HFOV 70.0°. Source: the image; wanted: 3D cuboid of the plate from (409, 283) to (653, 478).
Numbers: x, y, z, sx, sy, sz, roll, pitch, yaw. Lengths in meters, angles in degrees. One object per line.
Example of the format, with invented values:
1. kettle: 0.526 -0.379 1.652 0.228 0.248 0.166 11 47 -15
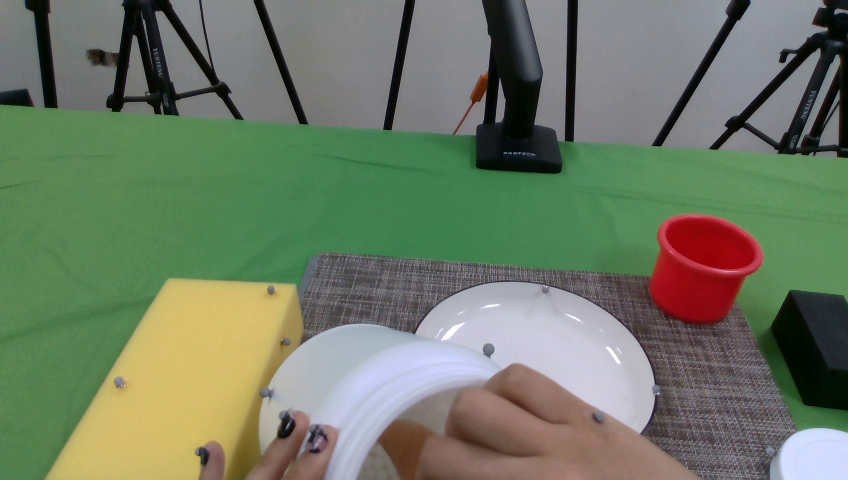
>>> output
1. plate: 0.086 0.117 0.522 0.209 0.038 0.207 2 37 -1

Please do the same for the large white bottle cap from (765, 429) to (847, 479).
1. large white bottle cap: 0.320 0.194 0.455 0.115 0.018 0.113 4 37 -3

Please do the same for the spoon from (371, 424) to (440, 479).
1. spoon: -0.005 0.125 0.293 0.042 0.021 0.193 8 3 -5

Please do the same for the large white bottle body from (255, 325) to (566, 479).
1. large white bottle body: -0.018 0.118 0.335 0.131 0.130 0.184 -14 2 -22

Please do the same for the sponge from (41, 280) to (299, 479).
1. sponge: -0.182 0.121 0.480 0.118 0.061 0.205 2 36 2
